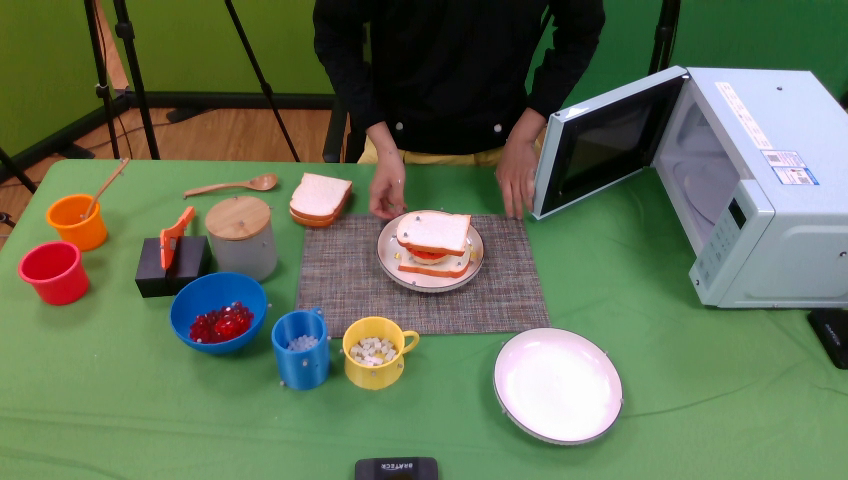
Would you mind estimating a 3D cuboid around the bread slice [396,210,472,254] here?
[{"bbox_3d":[0.017,-0.016,1.113,0.134,0.018,0.106,3,40,7],"label":"bread slice"}]

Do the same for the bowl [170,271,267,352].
[{"bbox_3d":[-0.333,0.132,1.006,0.151,0.077,0.150,2,46,-2],"label":"bowl"}]

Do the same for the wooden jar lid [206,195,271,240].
[{"bbox_3d":[-0.319,-0.036,1.046,0.108,0.021,0.107,1,44,0],"label":"wooden jar lid"}]

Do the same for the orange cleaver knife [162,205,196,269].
[{"bbox_3d":[-0.454,-0.010,1.129,0.012,0.077,0.210,-2,20,-5],"label":"orange cleaver knife"}]

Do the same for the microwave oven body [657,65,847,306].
[{"bbox_3d":[0.669,-0.111,1.176,0.326,0.261,0.439,0,46,-3],"label":"microwave oven body"}]

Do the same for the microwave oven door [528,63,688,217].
[{"bbox_3d":[0.377,-0.206,1.238,0.356,0.245,0.039,-25,53,-24],"label":"microwave oven door"}]

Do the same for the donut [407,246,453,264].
[{"bbox_3d":[0.014,0.002,1.139,0.099,0.048,0.098,2,47,-2],"label":"donut"}]

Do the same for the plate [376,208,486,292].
[{"bbox_3d":[0.012,0.021,1.158,0.209,0.038,0.208,2,47,-2],"label":"plate"}]

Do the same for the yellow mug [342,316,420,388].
[{"bbox_3d":[-0.067,0.177,0.990,0.131,0.064,0.099,-16,50,-19],"label":"yellow mug"}]

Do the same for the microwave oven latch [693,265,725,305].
[{"bbox_3d":[0.523,0.082,1.115,0.030,0.029,0.078,2,46,-1],"label":"microwave oven latch"}]

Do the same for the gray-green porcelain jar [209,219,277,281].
[{"bbox_3d":[-0.323,0.007,1.092,0.106,0.127,0.105,2,46,-2],"label":"gray-green porcelain jar"}]

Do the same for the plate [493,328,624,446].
[{"bbox_3d":[0.213,0.236,0.974,0.208,0.039,0.206,2,46,-2],"label":"plate"}]

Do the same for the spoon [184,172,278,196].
[{"bbox_3d":[-0.405,-0.116,1.275,0.194,0.022,0.041,-8,64,-12],"label":"spoon"}]

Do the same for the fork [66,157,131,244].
[{"bbox_3d":[-0.608,-0.074,1.133,0.207,0.019,0.028,-52,49,10],"label":"fork"}]

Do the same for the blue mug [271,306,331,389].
[{"bbox_3d":[-0.188,0.163,0.969,0.082,0.106,0.116,15,47,10],"label":"blue mug"}]

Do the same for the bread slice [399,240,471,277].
[{"bbox_3d":[0.025,0.023,1.158,0.131,0.019,0.104,9,47,5],"label":"bread slice"}]
